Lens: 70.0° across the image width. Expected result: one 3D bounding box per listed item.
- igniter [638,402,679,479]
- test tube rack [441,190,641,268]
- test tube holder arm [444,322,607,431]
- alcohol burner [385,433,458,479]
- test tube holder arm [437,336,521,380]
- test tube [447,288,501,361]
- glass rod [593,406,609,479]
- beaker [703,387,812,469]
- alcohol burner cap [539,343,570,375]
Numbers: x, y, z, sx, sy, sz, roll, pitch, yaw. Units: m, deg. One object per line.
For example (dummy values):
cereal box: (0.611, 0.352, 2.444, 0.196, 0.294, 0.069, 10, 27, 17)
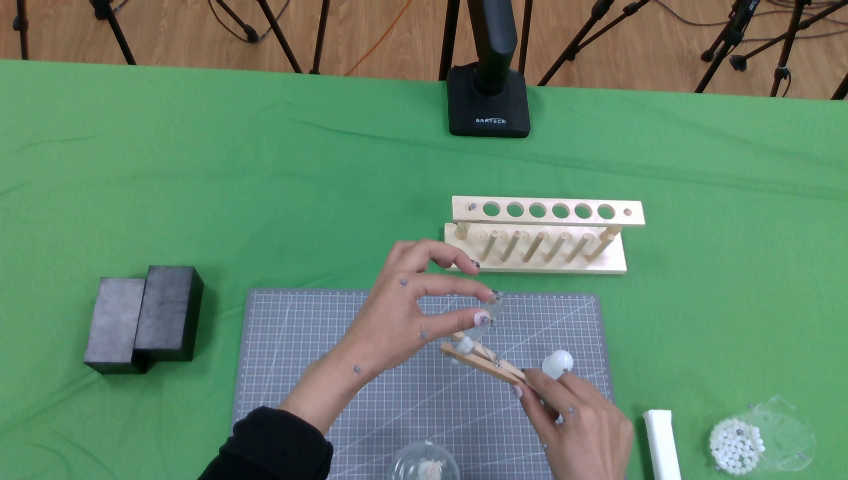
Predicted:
igniter: (0.276, 0.321, 0.673, 0.057, 0.025, 0.274, 6, 64, -15)
test tube rack: (0.148, -0.012, 0.782, 0.243, 0.086, 0.066, 1, 65, -6)
test tube holder arm: (0.097, 0.132, 0.591, 0.177, 0.015, 0.013, 30, 67, 12)
alcohol burner: (-0.001, 0.238, 0.629, 0.078, 0.120, 0.077, 2, 62, -4)
test tube holder arm: (0.055, 0.117, 0.597, 0.087, 0.015, 0.010, 21, 65, 8)
test tube: (0.044, 0.084, 0.572, 0.017, 0.151, 0.017, 6, 59, -9)
glass rod: (0.208, 0.289, 0.687, 0.008, 0.008, 0.198, 1, 65, -6)
beaker: (0.375, 0.218, 0.692, 0.074, 0.101, 0.083, 13, 63, 0)
alcohol burner cap: (0.161, 0.142, 0.732, 0.034, 0.048, 0.033, 3, 65, -5)
